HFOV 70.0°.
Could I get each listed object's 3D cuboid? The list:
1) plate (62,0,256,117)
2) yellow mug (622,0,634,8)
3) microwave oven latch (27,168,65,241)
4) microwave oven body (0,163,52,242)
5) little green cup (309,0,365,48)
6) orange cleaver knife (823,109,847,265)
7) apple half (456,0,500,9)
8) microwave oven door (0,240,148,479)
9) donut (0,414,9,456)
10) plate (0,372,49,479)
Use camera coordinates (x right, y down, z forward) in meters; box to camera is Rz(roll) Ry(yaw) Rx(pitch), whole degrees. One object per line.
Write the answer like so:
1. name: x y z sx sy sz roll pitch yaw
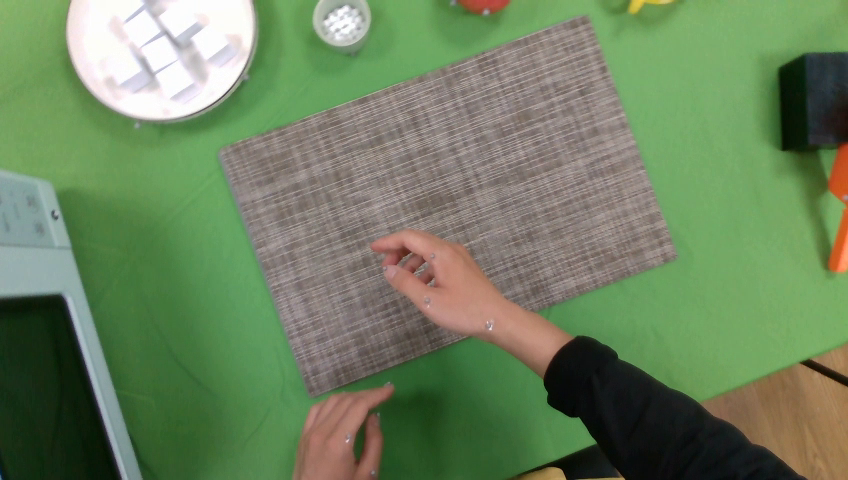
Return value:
1. plate: -0.290 -0.238 0.676 0.208 0.039 0.207 0 89 -1
2. yellow mug: 0.256 -0.319 0.674 0.100 0.064 0.131 27 90 -1
3. microwave oven latch: -0.416 -0.036 0.652 0.030 0.029 0.079 -16 90 -2
4. microwave oven body: -0.501 0.175 0.552 0.326 0.260 0.441 -18 90 -2
5. little green cup: -0.096 -0.247 0.680 0.061 0.038 0.061 0 89 -1
6. orange cleaver knife: 0.468 -0.074 0.668 0.012 0.076 0.213 -1 119 2
7. apple half: 0.049 -0.291 0.667 0.053 0.074 0.081 -29 93 3
8. microwave oven door: -0.349 0.171 0.550 0.039 0.244 0.355 -18 89 -1
9. donut: -0.466 0.194 0.598 0.099 0.048 0.099 -2 110 -4
10. plate: -0.477 0.217 0.603 0.209 0.038 0.209 0 89 -2
